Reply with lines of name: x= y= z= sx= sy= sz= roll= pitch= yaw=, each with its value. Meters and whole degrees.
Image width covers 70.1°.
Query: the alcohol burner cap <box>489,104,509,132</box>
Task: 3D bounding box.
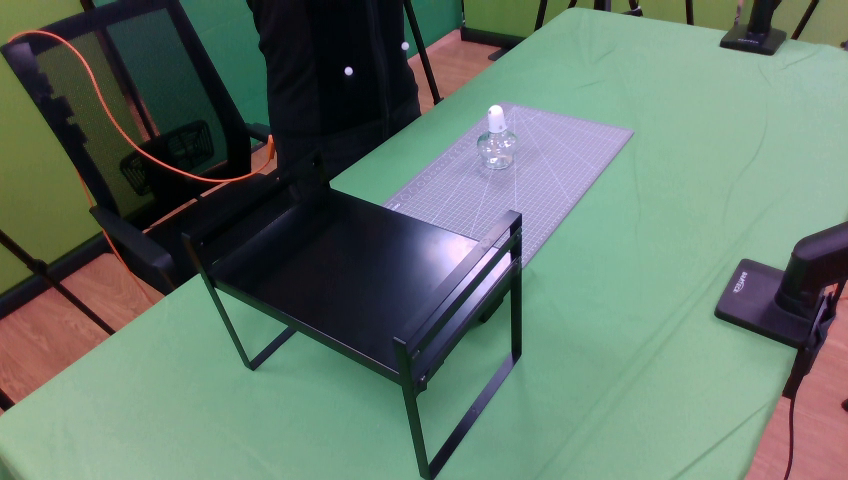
alcohol burner cap: x=0.132 y=-0.221 z=1.083 sx=0.034 sy=0.048 sz=0.033 roll=-9 pitch=41 yaw=8

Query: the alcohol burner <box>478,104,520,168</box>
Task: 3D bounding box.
alcohol burner: x=0.136 y=-0.193 z=1.107 sx=0.078 sy=0.119 sz=0.077 roll=-5 pitch=39 yaw=4
